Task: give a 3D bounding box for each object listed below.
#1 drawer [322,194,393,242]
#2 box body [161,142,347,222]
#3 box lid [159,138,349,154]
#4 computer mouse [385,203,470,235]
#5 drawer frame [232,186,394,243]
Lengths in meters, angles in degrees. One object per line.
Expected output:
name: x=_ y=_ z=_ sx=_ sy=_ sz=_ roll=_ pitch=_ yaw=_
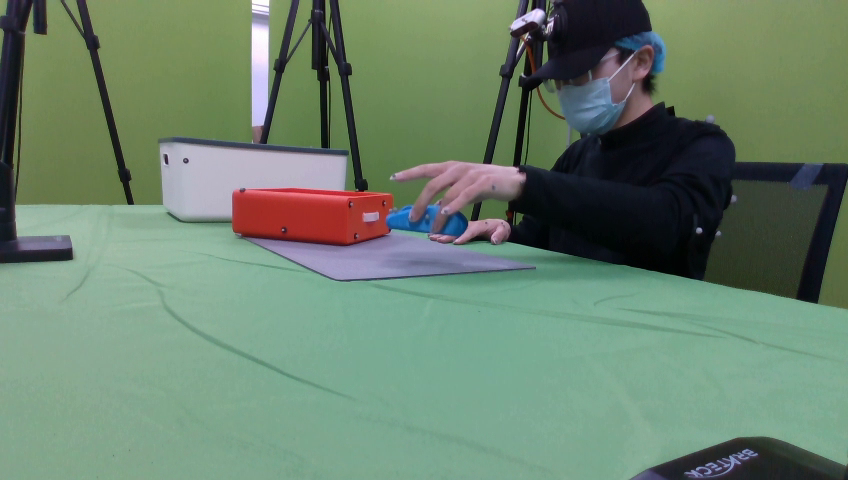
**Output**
drawer: x=-0.184 y=-0.048 z=1.060 sx=0.211 sy=0.073 sz=0.195 roll=4 pitch=8 yaw=18
box body: x=-0.380 y=-0.132 z=1.352 sx=0.366 sy=0.160 sz=0.253 roll=-2 pitch=8 yaw=-30
box lid: x=-0.376 y=-0.206 z=1.344 sx=0.373 sy=0.015 sz=0.262 roll=-1 pitch=8 yaw=-30
computer mouse: x=0.005 y=-0.031 z=0.840 sx=0.117 sy=0.041 sz=0.063 roll=2 pitch=7 yaw=9
drawer frame: x=-0.186 y=-0.049 z=1.060 sx=0.213 sy=0.082 sz=0.202 roll=4 pitch=8 yaw=17
